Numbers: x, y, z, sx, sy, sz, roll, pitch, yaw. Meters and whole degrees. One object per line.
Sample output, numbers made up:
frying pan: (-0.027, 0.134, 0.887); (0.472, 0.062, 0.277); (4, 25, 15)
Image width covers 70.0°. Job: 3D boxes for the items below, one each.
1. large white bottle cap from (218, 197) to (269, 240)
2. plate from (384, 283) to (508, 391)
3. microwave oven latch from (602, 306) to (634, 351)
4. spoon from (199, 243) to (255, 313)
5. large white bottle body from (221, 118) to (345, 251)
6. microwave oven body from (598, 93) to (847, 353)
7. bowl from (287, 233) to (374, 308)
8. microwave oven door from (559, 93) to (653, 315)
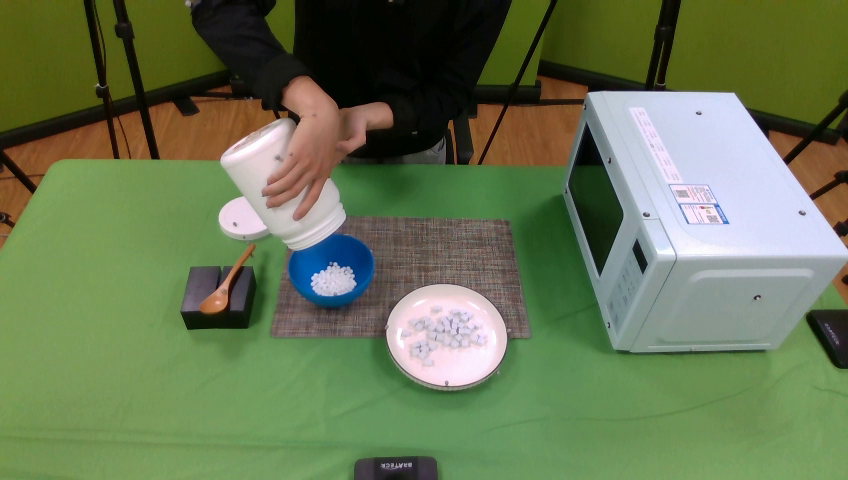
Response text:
large white bottle cap: (-0.355, -0.045, 1.220); (0.115, 0.018, 0.114); (2, 45, -2)
plate: (0.036, 0.166, 1.029); (0.209, 0.038, 0.208); (2, 49, -2)
microwave oven latch: (0.332, 0.153, 1.044); (0.030, 0.029, 0.078); (0, 45, -4)
spoon: (-0.334, 0.062, 1.051); (0.041, 0.022, 0.193); (8, 40, 8)
large white bottle body: (-0.219, -0.086, 0.973); (0.130, 0.185, 0.130); (-25, 23, 12)
microwave oven body: (0.475, -0.041, 1.109); (0.326, 0.261, 0.438); (-1, 45, -4)
bowl: (-0.165, 0.068, 1.078); (0.151, 0.077, 0.150); (3, 46, -3)
microwave oven door: (0.327, -0.074, 1.123); (0.039, 0.245, 0.353); (-1, 46, -5)
